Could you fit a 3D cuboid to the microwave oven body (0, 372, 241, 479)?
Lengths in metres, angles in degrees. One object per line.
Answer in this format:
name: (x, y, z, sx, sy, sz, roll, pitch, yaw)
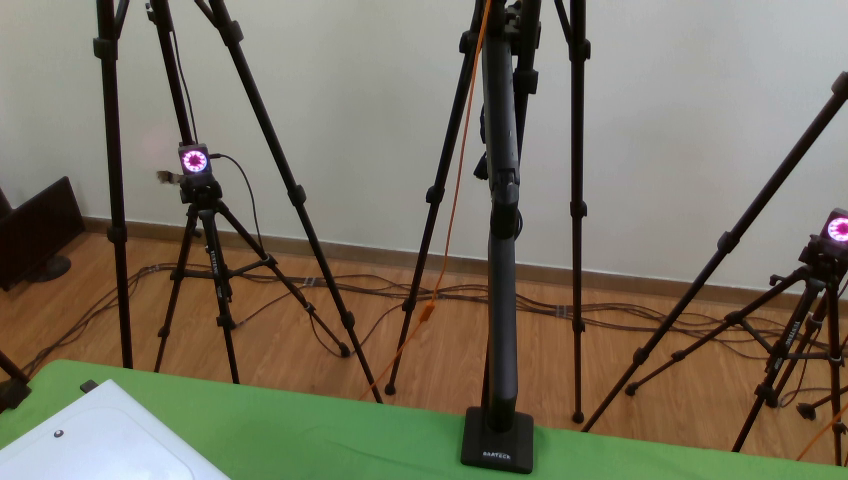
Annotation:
microwave oven body: (-0.443, 0.425, 0.686, 0.323, 0.262, 0.441, 25, 43, 27)
